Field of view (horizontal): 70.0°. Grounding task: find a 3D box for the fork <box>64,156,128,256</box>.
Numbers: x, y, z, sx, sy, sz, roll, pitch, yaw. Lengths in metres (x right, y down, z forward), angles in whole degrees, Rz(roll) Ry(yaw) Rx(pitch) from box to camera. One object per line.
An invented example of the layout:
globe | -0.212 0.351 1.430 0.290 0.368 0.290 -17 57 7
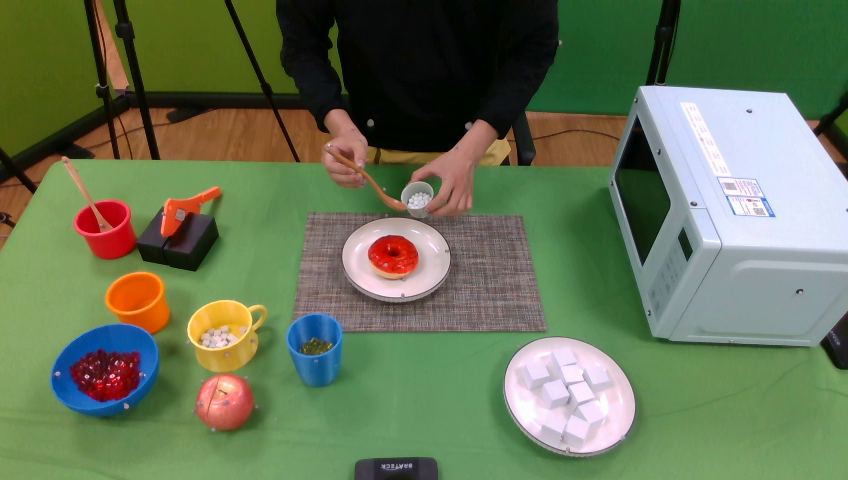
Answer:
fork | -0.614 -0.064 1.130 0.028 0.018 0.207 -30 97 -16

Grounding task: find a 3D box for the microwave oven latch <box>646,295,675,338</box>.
microwave oven latch | 0.412 0.134 1.061 0.030 0.029 0.078 3 45 1

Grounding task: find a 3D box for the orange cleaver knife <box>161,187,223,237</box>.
orange cleaver knife | -0.448 -0.058 1.180 0.012 0.077 0.211 13 17 6

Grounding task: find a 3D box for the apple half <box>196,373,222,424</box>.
apple half | -0.322 0.239 0.906 0.033 0.081 0.081 7 46 0

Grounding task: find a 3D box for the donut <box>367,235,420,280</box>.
donut | -0.056 0.032 1.132 0.099 0.048 0.098 3 44 -3

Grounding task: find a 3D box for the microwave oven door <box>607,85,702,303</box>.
microwave oven door | 0.423 -0.094 1.141 0.039 0.245 0.353 2 46 -1

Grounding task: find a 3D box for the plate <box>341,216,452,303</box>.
plate | -0.051 0.039 1.140 0.209 0.038 0.208 2 46 -2

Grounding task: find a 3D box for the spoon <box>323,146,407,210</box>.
spoon | -0.097 -0.105 1.032 0.021 0.195 0.041 -43 37 8

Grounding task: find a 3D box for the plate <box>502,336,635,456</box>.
plate | 0.225 0.248 0.963 0.208 0.039 0.206 2 46 -2

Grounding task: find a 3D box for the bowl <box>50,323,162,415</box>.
bowl | -0.472 0.209 0.924 0.151 0.077 0.150 3 45 -2

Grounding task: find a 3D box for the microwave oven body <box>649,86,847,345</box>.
microwave oven body | 0.568 -0.053 1.118 0.326 0.261 0.439 2 45 -1

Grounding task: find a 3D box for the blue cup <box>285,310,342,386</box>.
blue cup | -0.170 0.179 0.958 0.093 0.101 0.092 2 44 -1

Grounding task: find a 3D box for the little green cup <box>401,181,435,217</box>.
little green cup | -0.008 -0.074 1.117 0.061 0.039 0.061 -6 63 11

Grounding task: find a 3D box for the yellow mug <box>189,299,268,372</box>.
yellow mug | -0.316 0.148 1.002 0.131 0.064 0.099 -33 56 -31

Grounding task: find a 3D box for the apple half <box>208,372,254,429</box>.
apple half | -0.283 0.244 0.908 0.053 0.075 0.080 7 42 -1
